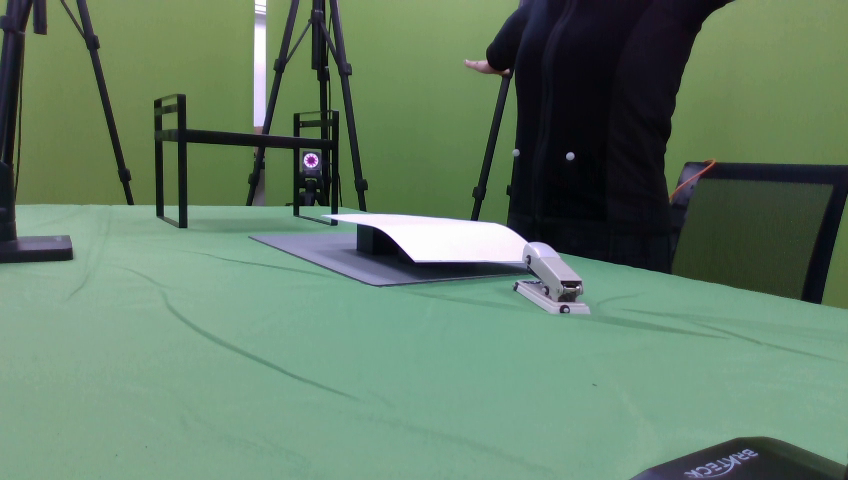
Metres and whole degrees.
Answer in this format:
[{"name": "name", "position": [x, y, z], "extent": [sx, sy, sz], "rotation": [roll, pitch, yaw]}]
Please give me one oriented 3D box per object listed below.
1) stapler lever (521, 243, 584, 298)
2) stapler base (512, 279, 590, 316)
[{"name": "stapler lever", "position": [0.132, 0.029, 0.634], "extent": [0.027, 0.040, 0.118], "rotation": [0, 8, -10]}, {"name": "stapler base", "position": [0.130, 0.053, 0.639], "extent": [0.041, 0.024, 0.130], "rotation": [0, 9, -10]}]
